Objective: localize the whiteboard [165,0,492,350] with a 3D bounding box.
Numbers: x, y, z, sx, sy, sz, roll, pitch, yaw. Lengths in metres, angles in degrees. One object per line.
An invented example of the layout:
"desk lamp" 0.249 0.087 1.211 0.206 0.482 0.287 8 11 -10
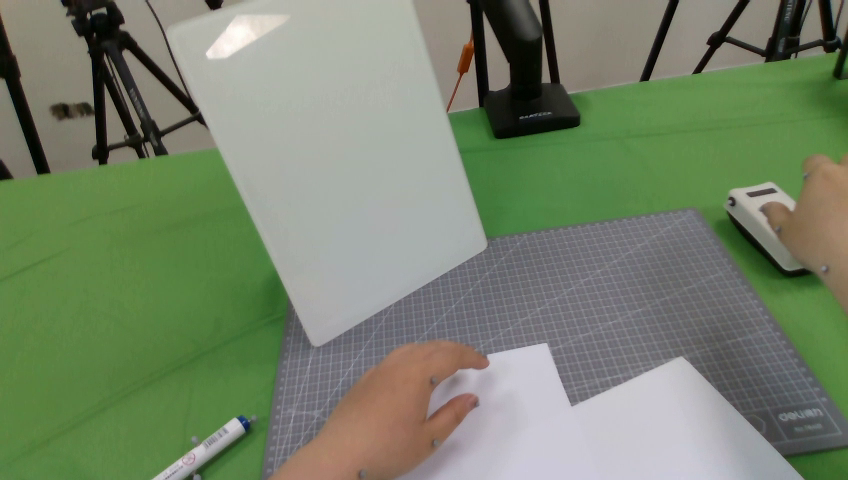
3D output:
"whiteboard" -0.095 -0.088 0.617 0.217 0.307 0.142 -29 22 -21

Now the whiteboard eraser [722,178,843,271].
"whiteboard eraser" 0.351 -0.016 0.601 0.055 0.042 0.111 -14 40 -2

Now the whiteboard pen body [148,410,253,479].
"whiteboard pen body" -0.199 0.184 0.484 0.141 0.017 0.017 -35 46 -30
